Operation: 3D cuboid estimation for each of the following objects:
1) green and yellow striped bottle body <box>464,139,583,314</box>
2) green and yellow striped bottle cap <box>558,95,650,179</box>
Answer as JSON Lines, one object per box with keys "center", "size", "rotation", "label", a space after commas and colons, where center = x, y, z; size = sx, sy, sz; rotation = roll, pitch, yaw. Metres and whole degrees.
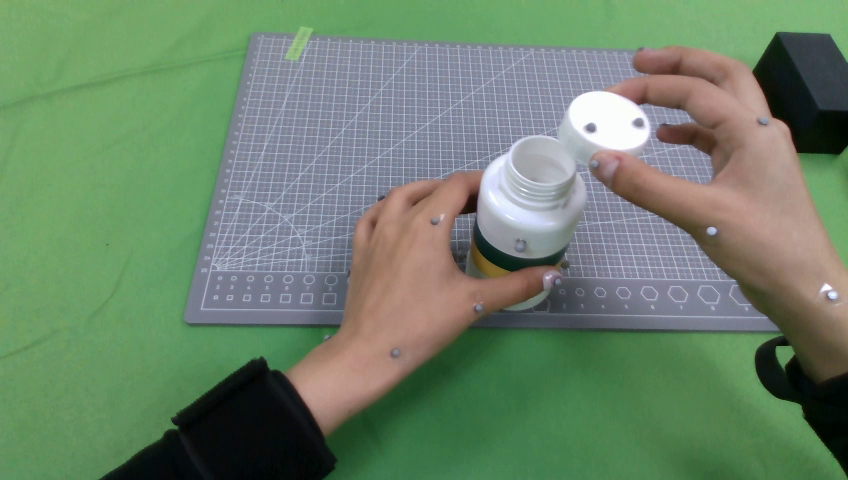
{"center": [0.061, -0.008, 0.380], "size": [0.063, 0.120, 0.062], "rotation": [1, 55, -1], "label": "green and yellow striped bottle body"}
{"center": [0.095, -0.055, 0.319], "size": [0.045, 0.020, 0.045], "rotation": [5, 55, -7], "label": "green and yellow striped bottle cap"}
